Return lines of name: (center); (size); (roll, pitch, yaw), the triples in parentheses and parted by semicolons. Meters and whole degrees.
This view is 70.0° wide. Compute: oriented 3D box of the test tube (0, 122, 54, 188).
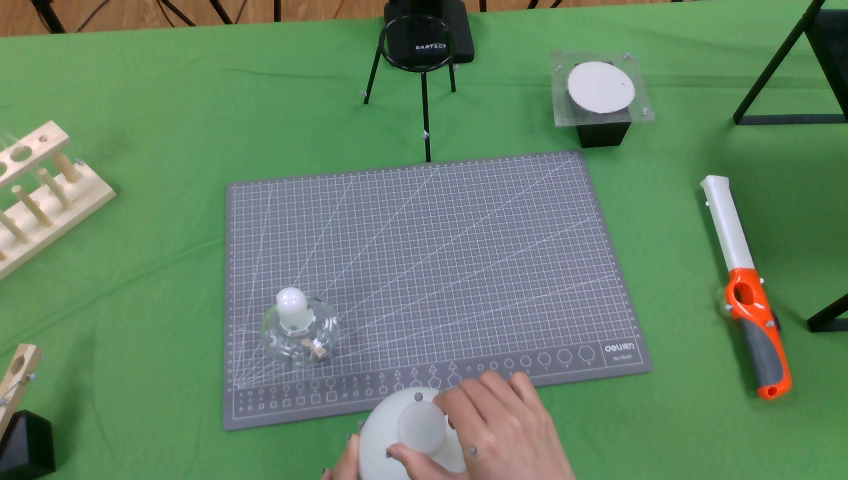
test tube: (-0.440, -0.102, 0.643); (0.017, 0.151, 0.017); (0, 60, 1)

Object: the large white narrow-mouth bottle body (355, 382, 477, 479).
large white narrow-mouth bottle body: (-0.007, 0.176, 0.511); (0.102, 0.196, 0.101); (1, 61, -1)

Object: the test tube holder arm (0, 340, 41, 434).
test tube holder arm: (-0.388, 0.175, 0.539); (0.013, 0.015, 0.177); (6, 62, 6)

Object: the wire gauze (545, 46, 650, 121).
wire gauze: (0.218, -0.201, 0.772); (0.121, 0.011, 0.124); (1, 62, -2)

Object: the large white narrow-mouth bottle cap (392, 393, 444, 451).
large white narrow-mouth bottle cap: (-0.004, 0.128, 0.428); (0.038, 0.024, 0.037); (1, 61, -2)

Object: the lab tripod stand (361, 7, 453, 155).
lab tripod stand: (-0.011, -0.200, 0.746); (0.148, 0.132, 0.147); (2, 62, -3)

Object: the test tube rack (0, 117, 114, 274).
test tube rack: (-0.474, -0.019, 0.654); (0.066, 0.086, 0.242); (39, 67, 17)

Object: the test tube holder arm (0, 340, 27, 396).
test tube holder arm: (-0.387, 0.135, 0.560); (0.010, 0.015, 0.087); (4, 62, 5)

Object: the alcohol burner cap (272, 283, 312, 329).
alcohol burner cap: (-0.126, 0.060, 0.568); (0.034, 0.048, 0.033); (0, 57, 1)

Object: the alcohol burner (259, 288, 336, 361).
alcohol burner: (-0.127, 0.077, 0.600); (0.078, 0.120, 0.077); (2, 60, -3)

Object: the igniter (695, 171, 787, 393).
igniter: (0.361, 0.038, 0.696); (0.057, 0.025, 0.274); (4, 61, -12)
